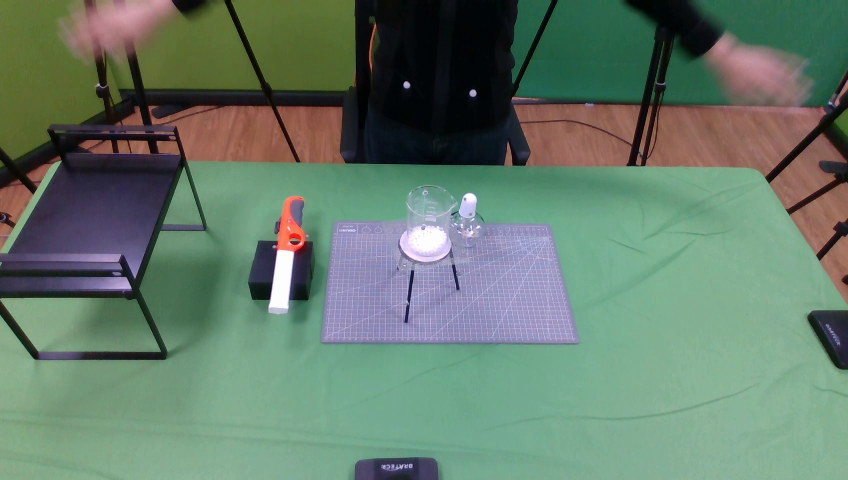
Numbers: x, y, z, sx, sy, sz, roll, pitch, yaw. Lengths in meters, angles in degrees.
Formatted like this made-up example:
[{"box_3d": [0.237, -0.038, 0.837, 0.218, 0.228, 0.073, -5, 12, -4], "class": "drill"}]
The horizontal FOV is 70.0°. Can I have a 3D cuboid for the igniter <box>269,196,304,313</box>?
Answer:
[{"box_3d": [-0.249, 0.016, 1.095, 0.057, 0.025, 0.274, 8, 46, -13], "class": "igniter"}]

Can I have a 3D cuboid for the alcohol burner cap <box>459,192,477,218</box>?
[{"box_3d": [0.085, -0.068, 1.153, 0.034, 0.048, 0.033, 3, 45, -3], "class": "alcohol burner cap"}]

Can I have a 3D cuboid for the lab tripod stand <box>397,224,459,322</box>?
[{"box_3d": [-0.003, 0.052, 1.067, 0.148, 0.132, 0.147, 3, 48, -3], "class": "lab tripod stand"}]

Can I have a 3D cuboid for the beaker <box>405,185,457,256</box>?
[{"box_3d": [0.009, -0.029, 0.987, 0.084, 0.101, 0.073, -1, 48, -5], "class": "beaker"}]

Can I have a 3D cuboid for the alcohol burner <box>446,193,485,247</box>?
[{"box_3d": [0.082, -0.044, 1.179, 0.078, 0.120, 0.077, 2, 44, -2], "class": "alcohol burner"}]

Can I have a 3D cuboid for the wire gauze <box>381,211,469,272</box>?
[{"box_3d": [0.000, 0.001, 1.024, 0.125, 0.011, 0.120, -11, 48, -12], "class": "wire gauze"}]
